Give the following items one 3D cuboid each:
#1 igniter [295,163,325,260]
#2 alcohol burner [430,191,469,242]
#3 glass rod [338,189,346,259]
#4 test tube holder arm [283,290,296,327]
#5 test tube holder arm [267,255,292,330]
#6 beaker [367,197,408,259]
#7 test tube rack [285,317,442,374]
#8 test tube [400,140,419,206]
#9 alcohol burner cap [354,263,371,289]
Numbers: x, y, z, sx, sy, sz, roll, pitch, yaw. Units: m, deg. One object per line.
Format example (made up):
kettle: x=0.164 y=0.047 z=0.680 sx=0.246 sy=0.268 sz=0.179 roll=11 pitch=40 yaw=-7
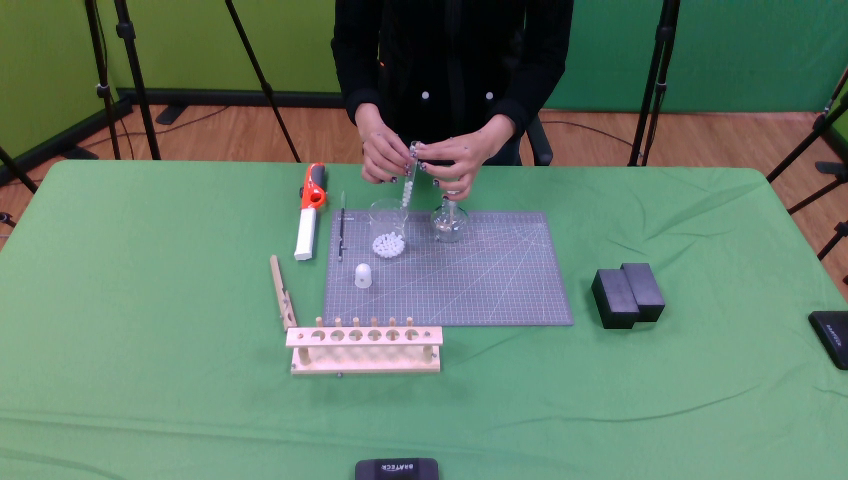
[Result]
igniter: x=-0.234 y=-0.067 z=1.243 sx=0.057 sy=0.025 sz=0.274 roll=-6 pitch=46 yaw=4
alcohol burner: x=0.052 y=-0.053 z=1.185 sx=0.078 sy=0.119 sz=0.077 roll=2 pitch=48 yaw=-2
glass rod: x=-0.166 y=-0.036 z=1.227 sx=0.008 sy=0.008 sz=0.198 roll=0 pitch=46 yaw=-3
test tube holder arm: x=-0.241 y=0.123 z=1.067 sx=0.010 sy=0.015 sz=0.087 roll=16 pitch=34 yaw=-38
test tube holder arm: x=-0.261 y=0.091 z=1.092 sx=0.013 sy=0.015 sz=0.177 roll=15 pitch=34 yaw=-39
beaker: x=-0.067 y=-0.018 z=1.153 sx=0.074 sy=0.101 sz=0.083 roll=-26 pitch=54 yaw=-25
test tube rack: x=-0.095 y=0.166 z=0.988 sx=0.242 sy=0.085 sz=0.066 roll=0 pitch=46 yaw=-4
test tube: x=-0.026 y=-0.111 z=1.042 sx=0.017 sy=0.151 sz=0.017 roll=5 pitch=50 yaw=-6
alcohol burner cap: x=-0.113 y=0.063 z=1.111 sx=0.034 sy=0.048 sz=0.033 roll=2 pitch=45 yaw=-2
